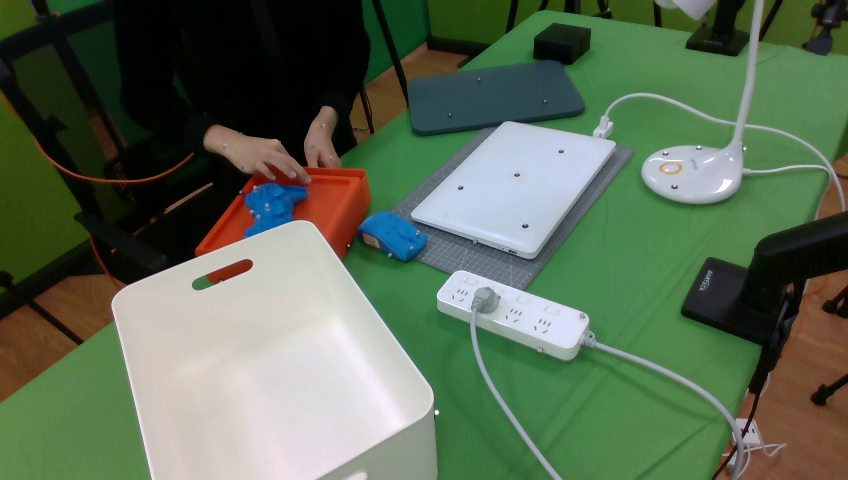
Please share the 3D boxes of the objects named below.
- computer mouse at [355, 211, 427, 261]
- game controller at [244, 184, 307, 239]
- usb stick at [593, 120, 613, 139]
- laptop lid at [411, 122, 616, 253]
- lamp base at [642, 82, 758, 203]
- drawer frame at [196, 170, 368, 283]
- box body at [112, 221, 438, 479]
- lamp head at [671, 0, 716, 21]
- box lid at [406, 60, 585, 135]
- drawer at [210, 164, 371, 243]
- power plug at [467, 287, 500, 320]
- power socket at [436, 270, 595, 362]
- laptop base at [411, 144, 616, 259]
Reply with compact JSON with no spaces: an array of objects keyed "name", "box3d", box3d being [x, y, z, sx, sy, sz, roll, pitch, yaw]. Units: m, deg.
[{"name":"computer mouse","box3d":[-0.054,-0.010,0.979,0.116,0.041,0.063,27,49,29]},{"name":"game controller","box3d":[-0.226,-0.038,0.928,0.097,0.052,0.154,-14,40,-4]},{"name":"usb stick","box3d":[0.336,-0.201,1.146,0.021,0.027,0.059,25,52,27]},{"name":"laptop lid","box3d":[0.165,-0.111,1.067,0.240,0.013,0.357,19,46,31]},{"name":"lamp base","box3d":[0.464,-0.174,0.992,0.179,0.181,0.159,-5,41,-1]},{"name":"drawer frame","box3d":[-0.220,-0.020,0.984,0.201,0.083,0.213,5,42,13]},{"name":"box body","box3d":[-0.170,0.168,0.693,0.255,0.161,0.360,-25,43,-19]},{"name":"lamp head","box3d":[0.375,-0.373,0.807,0.122,0.113,0.112,-40,27,32]},{"name":"box lid","box3d":[0.150,-0.320,1.340,0.372,0.015,0.261,-8,40,0]},{"name":"drawer","box3d":[-0.214,-0.037,1.006,0.194,0.073,0.211,5,42,13]},{"name":"power plug","box3d":[0.073,0.092,0.814,0.035,0.053,0.073,29,54,34]},{"name":"power socket","box3d":[0.119,0.101,0.832,0.225,0.033,0.072,19,48,27]},{"name":"laptop base","box3d":[0.168,-0.101,1.073,0.234,0.023,0.355,17,46,30]}]
